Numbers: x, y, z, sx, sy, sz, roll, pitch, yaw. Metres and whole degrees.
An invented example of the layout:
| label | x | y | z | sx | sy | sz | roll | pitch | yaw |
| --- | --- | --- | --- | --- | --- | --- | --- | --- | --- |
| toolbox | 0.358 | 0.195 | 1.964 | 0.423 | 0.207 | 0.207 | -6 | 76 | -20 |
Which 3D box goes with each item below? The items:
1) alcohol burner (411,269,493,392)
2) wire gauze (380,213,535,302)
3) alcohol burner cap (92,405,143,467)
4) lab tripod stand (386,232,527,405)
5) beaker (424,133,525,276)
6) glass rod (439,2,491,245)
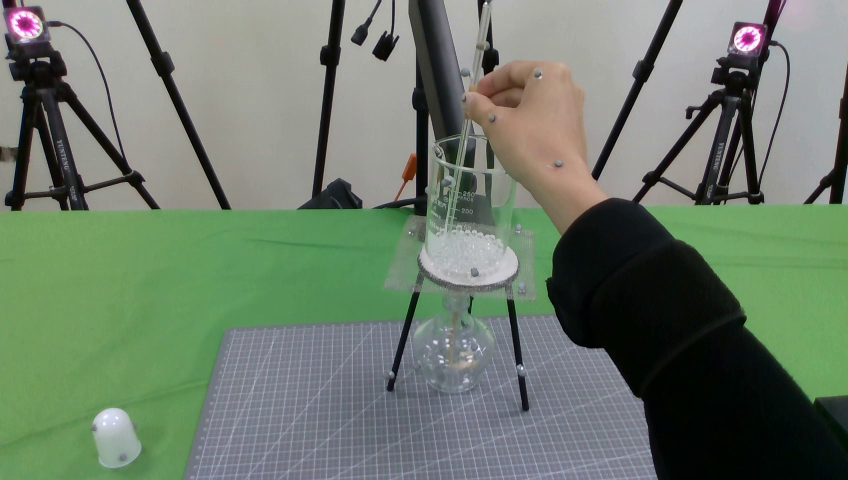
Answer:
| label | x | y | z | sx | sy | sz | roll | pitch | yaw |
| --- | --- | --- | --- | --- | --- | --- | --- | --- | --- |
| alcohol burner | 0.027 | 0.080 | 0.558 | 0.078 | 0.120 | 0.077 | 1 | 29 | 0 |
| wire gauze | 0.034 | 0.014 | 0.521 | 0.121 | 0.011 | 0.124 | 6 | 33 | 6 |
| alcohol burner cap | -0.248 | 0.155 | 0.486 | 0.034 | 0.048 | 0.033 | 1 | 30 | 0 |
| lab tripod stand | 0.039 | 0.071 | 0.555 | 0.148 | 0.132 | 0.147 | 4 | 30 | -2 |
| beaker | 0.035 | -0.029 | 0.498 | 0.083 | 0.101 | 0.074 | 28 | 38 | 34 |
| glass rod | 0.030 | -0.079 | 0.468 | 0.008 | 0.201 | 0.008 | 7 | 33 | -4 |
